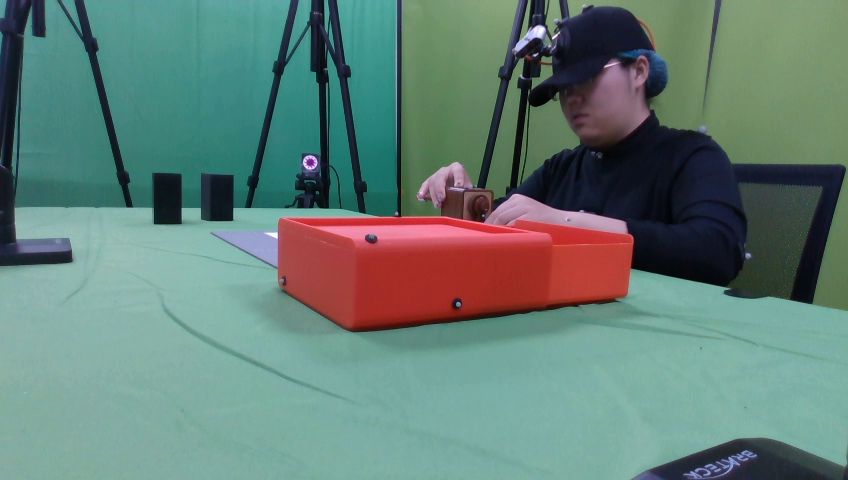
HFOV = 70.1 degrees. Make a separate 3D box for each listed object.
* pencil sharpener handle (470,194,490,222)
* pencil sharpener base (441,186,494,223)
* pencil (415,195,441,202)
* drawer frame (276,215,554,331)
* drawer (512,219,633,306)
[{"bbox_3d":[0.094,-0.037,0.942,0.036,0.067,0.030,1,8,-28],"label":"pencil sharpener handle"},{"bbox_3d":[0.070,-0.032,0.988,0.061,0.107,0.076,-1,9,-28],"label":"pencil sharpener base"},{"bbox_3d":[0.035,-0.069,1.057,0.012,0.012,0.193,-1,7,-30],"label":"pencil"},{"bbox_3d":[-0.015,0.022,0.610,0.215,0.082,0.200,-2,9,-32],"label":"drawer frame"},{"bbox_3d":[0.085,0.021,0.674,0.213,0.073,0.193,-2,9,-32],"label":"drawer"}]
